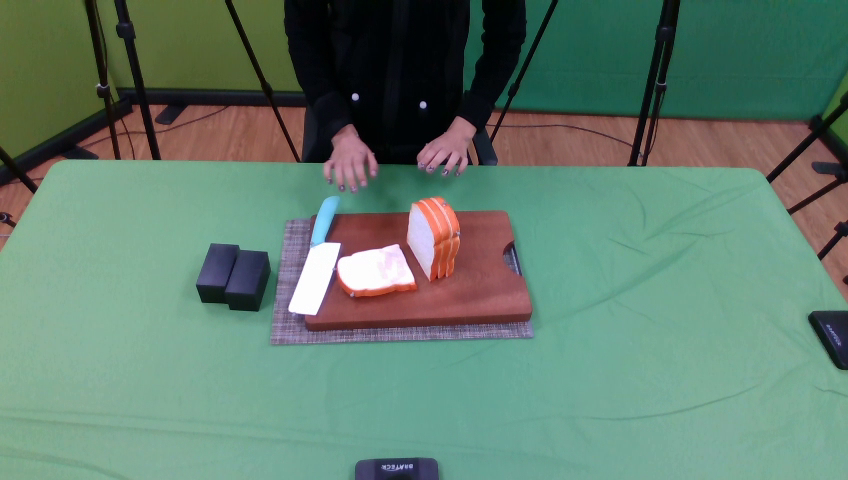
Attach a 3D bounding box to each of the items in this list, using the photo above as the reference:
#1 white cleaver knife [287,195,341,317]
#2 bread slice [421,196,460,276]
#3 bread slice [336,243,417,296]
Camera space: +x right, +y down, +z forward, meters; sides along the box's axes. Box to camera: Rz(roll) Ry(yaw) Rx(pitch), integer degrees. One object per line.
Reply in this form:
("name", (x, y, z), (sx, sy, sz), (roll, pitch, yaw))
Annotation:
("white cleaver knife", (-0.190, 0.025, 1.127), (0.066, 0.021, 0.285), (5, 51, 6))
("bread slice", (0.031, -0.013, 1.099), (0.019, 0.132, 0.104), (-16, 51, -24))
("bread slice", (-0.091, 0.053, 1.096), (0.134, 0.018, 0.106), (-8, 45, -16))
